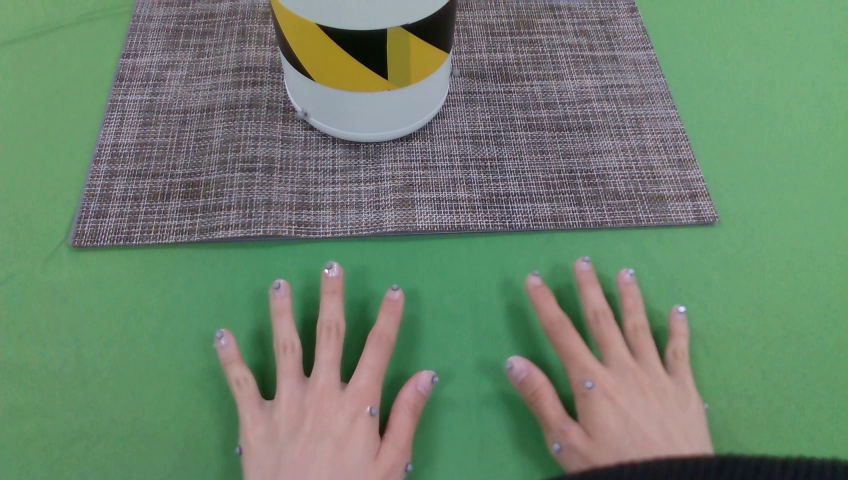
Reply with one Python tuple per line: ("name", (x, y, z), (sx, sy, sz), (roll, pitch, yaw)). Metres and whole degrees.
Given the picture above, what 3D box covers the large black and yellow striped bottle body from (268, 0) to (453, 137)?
("large black and yellow striped bottle body", (-0.043, -0.176, 0.411), (0.131, 0.185, 0.129), (2, 58, -2))
